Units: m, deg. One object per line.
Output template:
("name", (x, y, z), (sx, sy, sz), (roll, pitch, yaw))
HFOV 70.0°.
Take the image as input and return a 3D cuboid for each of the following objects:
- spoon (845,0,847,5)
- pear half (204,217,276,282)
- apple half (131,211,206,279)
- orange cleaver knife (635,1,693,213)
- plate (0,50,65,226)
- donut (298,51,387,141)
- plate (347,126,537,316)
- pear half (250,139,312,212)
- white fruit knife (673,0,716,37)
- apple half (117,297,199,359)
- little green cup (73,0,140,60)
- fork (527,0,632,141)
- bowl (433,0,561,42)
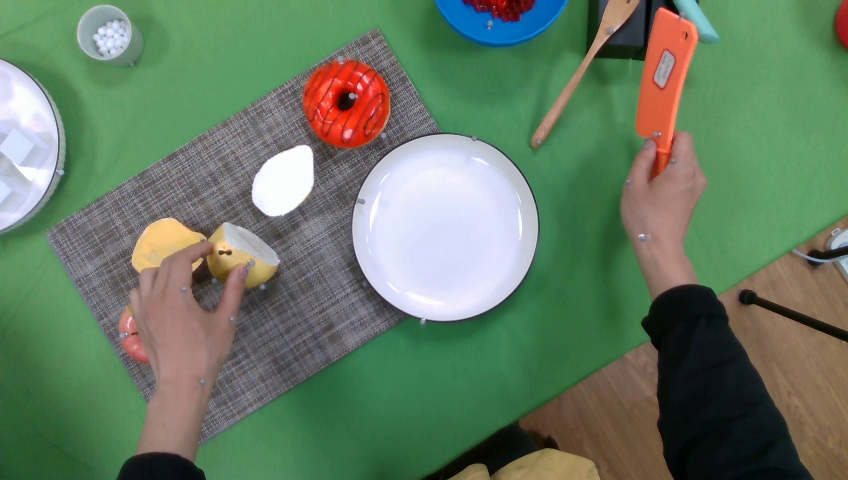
("spoon", (0.520, -0.224, 0.617), (0.041, 0.022, 0.191), (-37, 46, 0))
("pear half", (-0.205, 0.016, 0.642), (0.076, 0.110, 0.056), (35, 93, 4))
("apple half", (-0.283, 0.012, 0.677), (0.081, 0.033, 0.080), (3, 66, -6))
("orange cleaver knife", (0.241, -0.135, 0.631), (0.012, 0.076, 0.212), (-4, 114, -10))
("plate", (-0.505, -0.113, 0.684), (0.208, 0.039, 0.207), (0, 90, 1))
("donut", (-0.090, -0.159, 0.671), (0.099, 0.048, 0.099), (0, 92, 3))
("plate", (0.020, -0.021, 0.674), (0.209, 0.038, 0.209), (0, 90, 0))
("pear half", (-0.153, -0.070, 0.678), (0.070, 0.031, 0.088), (33, 82, 13))
("white fruit knife", (0.246, -0.302, 0.636), (0.027, 0.016, 0.207), (-29, 88, -28))
("apple half", (-0.293, 0.101, 0.661), (0.081, 0.074, 0.053), (23, 94, -3))
("little green cup", (-0.353, -0.233, 0.681), (0.061, 0.038, 0.061), (0, 90, 1))
("fork", (0.169, -0.196, 0.650), (0.028, 0.018, 0.208), (28, 111, -5))
("bowl", (0.076, -0.281, 0.656), (0.151, 0.077, 0.151), (0, 91, 1))
